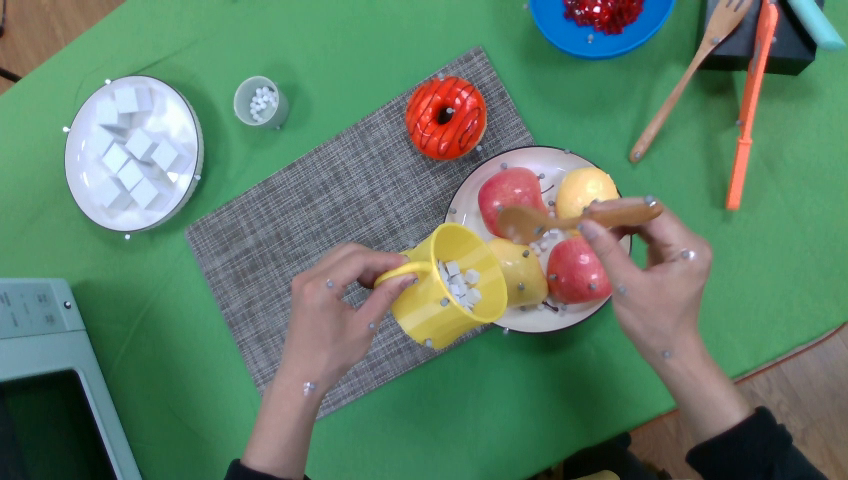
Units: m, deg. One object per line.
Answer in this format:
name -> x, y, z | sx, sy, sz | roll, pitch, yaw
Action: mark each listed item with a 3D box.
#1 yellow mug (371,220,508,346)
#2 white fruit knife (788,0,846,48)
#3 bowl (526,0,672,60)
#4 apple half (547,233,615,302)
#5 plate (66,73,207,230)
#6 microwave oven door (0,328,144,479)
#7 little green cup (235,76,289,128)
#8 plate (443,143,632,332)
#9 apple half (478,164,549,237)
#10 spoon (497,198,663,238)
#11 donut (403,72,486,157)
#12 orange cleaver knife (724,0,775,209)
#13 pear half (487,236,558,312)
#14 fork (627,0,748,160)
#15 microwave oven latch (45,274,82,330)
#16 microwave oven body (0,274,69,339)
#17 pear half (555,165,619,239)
yellow mug -> 0.010, 0.038, 0.545 | 0.064, 0.132, 0.099 | -34, 61, 36
white fruit knife -> 0.349, -0.275, 0.597 | 0.027, 0.016, 0.206 | -23, 80, -17
bowl -> 0.188, -0.260, 0.655 | 0.151, 0.077, 0.151 | 0, 88, 14
apple half -> 0.161, 0.031, 0.650 | 0.081, 0.033, 0.081 | 5, 99, 35
plate -> -0.378, -0.116, 0.809 | 0.207, 0.039, 0.207 | -1, 88, 14
microwave oven door -> -0.422, 0.276, 0.681 | 0.039, 0.245, 0.354 | -27, 82, 11
little green cup -> -0.203, -0.172, 0.768 | 0.061, 0.039, 0.061 | -1, 88, 14
plate -> 0.124, -0.002, 0.678 | 0.208, 0.038, 0.209 | -1, 88, 14
apple half -> 0.096, -0.043, 0.668 | 0.074, 0.053, 0.080 | -12, 88, 14
spoon -> 0.115, -0.018, 0.484 | 0.021, 0.193, 0.042 | -38, 104, -17
donut -> 0.023, -0.145, 0.704 | 0.099, 0.048, 0.099 | 0, 90, 16
orange cleaver knife -> 0.328, -0.138, 0.614 | 0.012, 0.077, 0.212 | 8, 115, 19
pear half -> 0.104, 0.044, 0.667 | 0.109, 0.056, 0.076 | 35, 100, 10
fork -> 0.270, -0.172, 0.627 | 0.028, 0.018, 0.208 | 29, 115, 5
microwave oven latch -> -0.488, 0.084, 0.809 | 0.030, 0.029, 0.079 | -24, 83, 11
microwave oven body -> -0.566, 0.303, 0.721 | 0.326, 0.261, 0.440 | -27, 83, 11
pear half -> 0.171, -0.036, 0.653 | 0.070, 0.031, 0.088 | 3, 98, 38
